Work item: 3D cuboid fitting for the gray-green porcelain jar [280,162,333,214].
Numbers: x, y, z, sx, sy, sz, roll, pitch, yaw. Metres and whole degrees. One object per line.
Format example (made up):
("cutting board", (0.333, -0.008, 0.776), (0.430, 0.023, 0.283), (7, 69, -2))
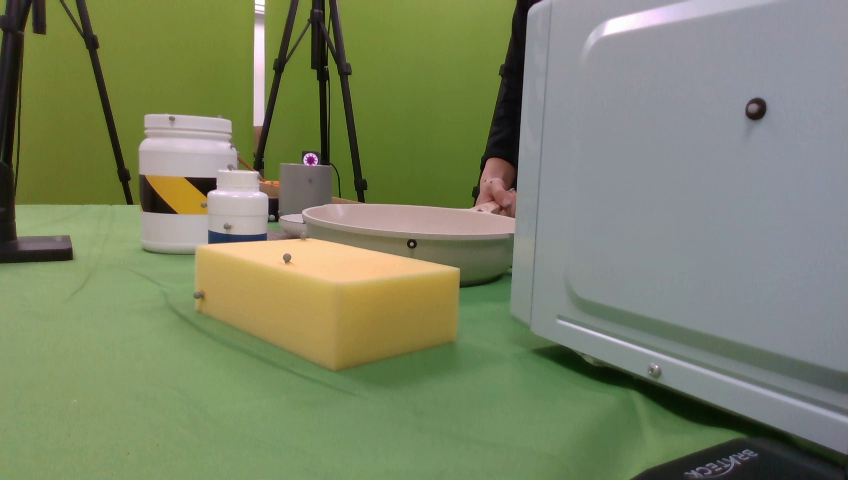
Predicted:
("gray-green porcelain jar", (-0.238, -0.092, 1.221), (0.106, 0.126, 0.106), (2, 7, 0))

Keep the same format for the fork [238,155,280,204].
("fork", (-0.396, -0.143, 1.486), (0.028, 0.018, 0.208), (20, -26, 45))

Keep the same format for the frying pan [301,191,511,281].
("frying pan", (0.050, -0.031, 0.863), (0.305, 0.102, 0.490), (10, 20, 34))

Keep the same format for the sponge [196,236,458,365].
("sponge", (-0.087, 0.039, 0.500), (0.206, 0.061, 0.119), (8, 9, 44))

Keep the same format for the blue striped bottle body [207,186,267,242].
("blue striped bottle body", (-0.204, -0.016, 0.663), (0.063, 0.120, 0.063), (2, 7, 0))

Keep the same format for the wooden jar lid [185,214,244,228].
("wooden jar lid", (-0.404, -0.037, 1.169), (0.108, 0.020, 0.108), (3, 7, 0))

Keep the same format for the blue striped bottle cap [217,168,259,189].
("blue striped bottle cap", (-0.202, -0.067, 0.656), (0.044, 0.020, 0.044), (0, 10, 0))

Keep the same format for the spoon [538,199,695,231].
("spoon", (0.243, -0.025, 0.772), (0.193, 0.041, 0.022), (7, -5, 15))

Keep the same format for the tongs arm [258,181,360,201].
("tongs arm", (-0.241, -0.095, 1.373), (0.387, 0.026, 0.050), (9, 0, -37))

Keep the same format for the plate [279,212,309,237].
("plate", (-0.139, -0.022, 1.021), (0.209, 0.038, 0.209), (2, 8, 0))

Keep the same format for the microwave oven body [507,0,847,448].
("microwave oven body", (0.331, -0.042, 0.425), (0.444, 0.260, 0.324), (-2, 8, -31))

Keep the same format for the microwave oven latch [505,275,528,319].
("microwave oven latch", (0.100, 0.042, 0.472), (0.079, 0.029, 0.030), (-2, 8, -30))

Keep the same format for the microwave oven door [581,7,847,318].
("microwave oven door", (0.295, -0.067, 0.570), (0.358, 0.243, 0.039), (-3, 8, -31))

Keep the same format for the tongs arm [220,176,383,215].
("tongs arm", (-0.285, -0.104, 1.445), (0.389, 0.027, 0.028), (9, -4, -23))

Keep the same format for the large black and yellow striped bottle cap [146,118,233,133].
("large black and yellow striped bottle cap", (-0.333, -0.163, 0.861), (0.115, 0.019, 0.115), (1, 9, 0))

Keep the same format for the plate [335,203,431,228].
("plate", (-0.089, -0.053, 1.309), (0.208, 0.039, 0.207), (2, 8, 0))

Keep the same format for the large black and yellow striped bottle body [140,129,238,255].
("large black and yellow striped bottle body", (-0.336, -0.078, 0.871), (0.131, 0.184, 0.130), (2, 8, 0))
